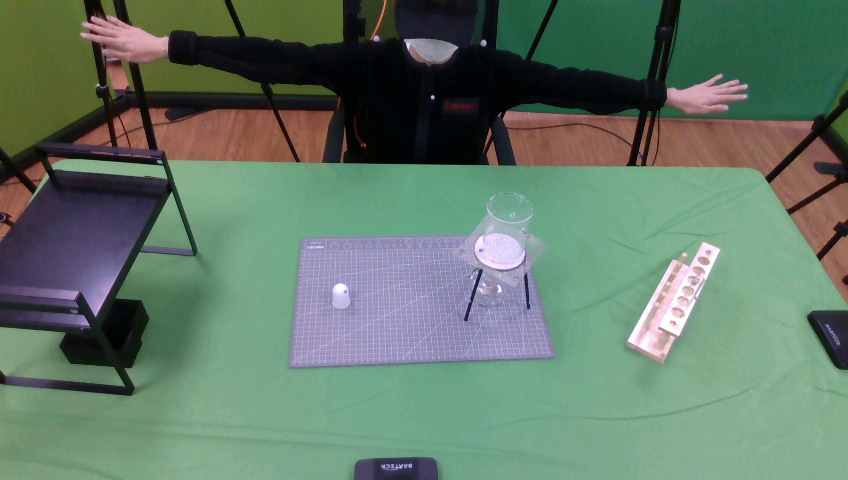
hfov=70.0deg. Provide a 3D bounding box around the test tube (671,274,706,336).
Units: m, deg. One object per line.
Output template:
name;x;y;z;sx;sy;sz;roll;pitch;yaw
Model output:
test tube;0.429;0.112;1.004;0.017;0.151;0.017;4;43;-4

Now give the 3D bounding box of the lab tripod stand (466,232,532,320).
lab tripod stand;0.125;0.059;1.065;0.148;0.132;0.147;1;45;0

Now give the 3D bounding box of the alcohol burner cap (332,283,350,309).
alcohol burner cap;-0.148;0.096;1.075;0.034;0.048;0.033;2;47;-2

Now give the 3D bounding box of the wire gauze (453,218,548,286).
wire gauze;0.129;0.014;1.019;0.124;0.011;0.121;25;47;25

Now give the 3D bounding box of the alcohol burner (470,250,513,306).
alcohol burner;0.121;0.062;1.076;0.078;0.120;0.077;1;47;0

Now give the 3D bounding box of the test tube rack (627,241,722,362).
test tube rack;0.452;0.098;1.087;0.066;0.085;0.242;28;51;22

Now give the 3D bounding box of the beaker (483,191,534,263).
beaker;0.135;-0.020;0.983;0.073;0.101;0.084;28;50;23
